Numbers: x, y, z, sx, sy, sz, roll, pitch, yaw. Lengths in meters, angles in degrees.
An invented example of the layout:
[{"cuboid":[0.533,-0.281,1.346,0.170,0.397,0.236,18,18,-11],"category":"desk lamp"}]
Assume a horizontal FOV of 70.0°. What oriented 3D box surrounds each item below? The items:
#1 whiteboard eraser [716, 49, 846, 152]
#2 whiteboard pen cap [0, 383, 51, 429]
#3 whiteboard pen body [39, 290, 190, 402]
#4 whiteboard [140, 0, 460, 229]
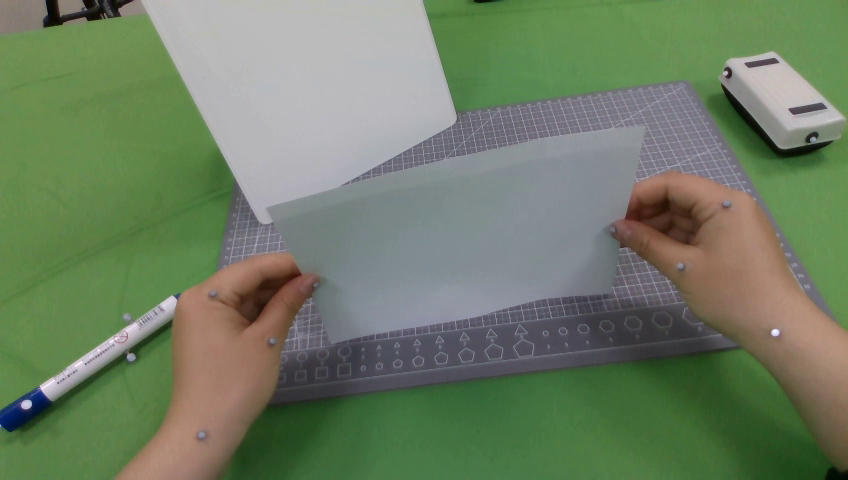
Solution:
[{"cuboid":[0.314,-0.125,0.542,0.055,0.042,0.111,-13,49,-1],"category":"whiteboard eraser"},{"cuboid":[-0.280,0.115,0.424,0.033,0.018,0.018,-39,55,-25],"category":"whiteboard pen cap"},{"cuboid":[-0.238,0.083,0.449,0.140,0.017,0.017,-38,55,-25],"category":"whiteboard pen body"},{"cuboid":[-0.131,-0.207,0.537,0.217,0.308,0.142,-31,32,-17],"category":"whiteboard"}]
